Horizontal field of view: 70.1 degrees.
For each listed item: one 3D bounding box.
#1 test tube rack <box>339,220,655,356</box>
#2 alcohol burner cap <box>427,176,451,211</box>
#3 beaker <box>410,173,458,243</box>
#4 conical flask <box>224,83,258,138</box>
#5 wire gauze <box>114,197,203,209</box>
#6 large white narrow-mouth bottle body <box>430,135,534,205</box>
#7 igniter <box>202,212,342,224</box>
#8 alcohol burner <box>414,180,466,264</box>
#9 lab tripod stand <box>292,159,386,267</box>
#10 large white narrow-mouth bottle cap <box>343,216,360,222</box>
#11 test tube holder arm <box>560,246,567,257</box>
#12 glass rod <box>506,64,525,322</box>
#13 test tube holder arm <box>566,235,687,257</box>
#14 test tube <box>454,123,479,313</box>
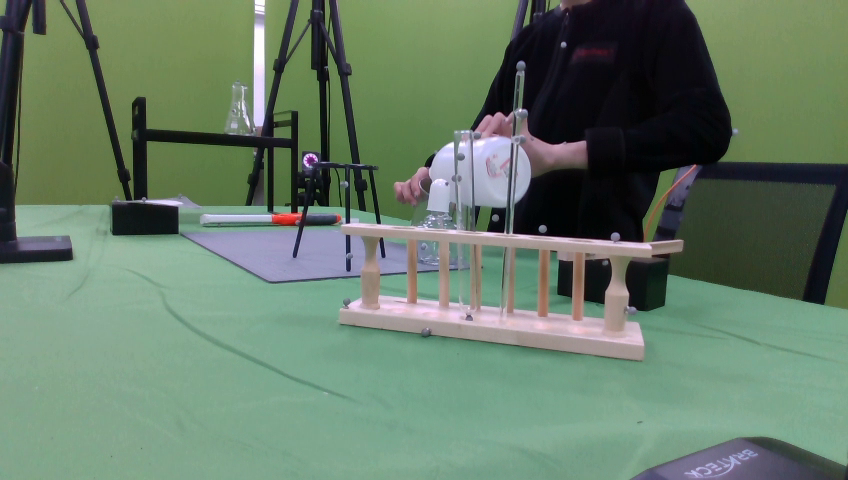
[{"bbox_3d":[0.056,0.032,0.495,0.242,0.085,0.067,4,7,15],"label":"test tube rack"},{"bbox_3d":[0.023,-0.064,0.822,0.034,0.048,0.034,7,5,0],"label":"alcohol burner cap"},{"bbox_3d":[0.019,-0.051,1.036,0.074,0.100,0.083,2,35,-18],"label":"beaker"},{"bbox_3d":[-0.422,-0.299,1.395,0.075,0.122,0.075,2,7,0],"label":"conical flask"},{"bbox_3d":[-0.447,-0.062,1.015,0.126,0.011,0.121,-2,8,-31],"label":"wire gauze"},{"bbox_3d":[0.071,-0.108,0.928,0.102,0.101,0.193,-3,8,-31],"label":"large white narrow-mouth bottle body"},{"bbox_3d":[-0.298,-0.044,1.216,0.278,0.025,0.057,-2,-2,-33],"label":"igniter"},{"bbox_3d":[0.021,-0.028,0.826,0.078,0.119,0.078,0,6,0],"label":"alcohol burner"},{"bbox_3d":[-0.105,-0.039,0.798,0.148,0.131,0.148,2,5,0],"label":"lab tripod stand"},{"bbox_3d":[-0.148,-0.036,1.234,0.038,0.024,0.037,2,8,0],"label":"large white narrow-mouth bottle cap"},{"bbox_3d":[0.173,0.007,0.611,0.088,0.015,0.010,-3,9,-30],"label":"test tube holder arm"},{"bbox_3d":[0.069,-0.030,0.458,0.008,0.199,0.008,0,15,0],"label":"glass rod"},{"bbox_3d":[0.215,0.006,0.630,0.179,0.015,0.013,-3,9,-31],"label":"test tube holder arm"},{"bbox_3d":[0.034,-0.016,0.477,0.017,0.150,0.017,-2,9,1],"label":"test tube"}]
